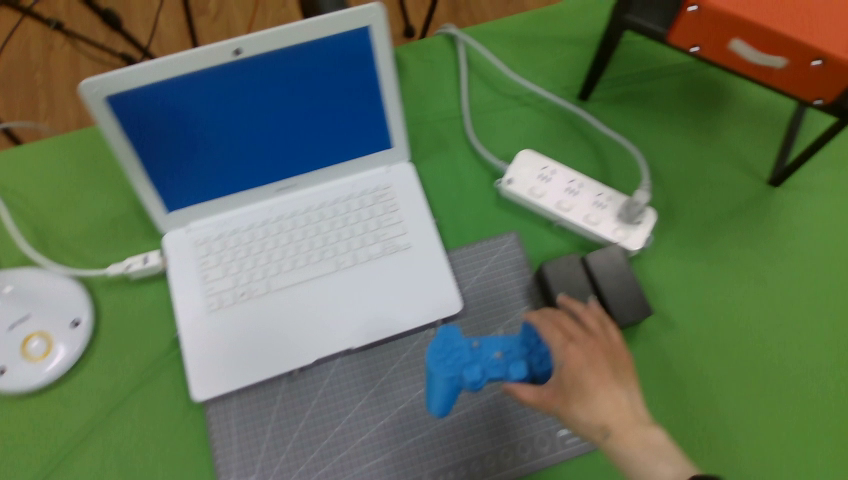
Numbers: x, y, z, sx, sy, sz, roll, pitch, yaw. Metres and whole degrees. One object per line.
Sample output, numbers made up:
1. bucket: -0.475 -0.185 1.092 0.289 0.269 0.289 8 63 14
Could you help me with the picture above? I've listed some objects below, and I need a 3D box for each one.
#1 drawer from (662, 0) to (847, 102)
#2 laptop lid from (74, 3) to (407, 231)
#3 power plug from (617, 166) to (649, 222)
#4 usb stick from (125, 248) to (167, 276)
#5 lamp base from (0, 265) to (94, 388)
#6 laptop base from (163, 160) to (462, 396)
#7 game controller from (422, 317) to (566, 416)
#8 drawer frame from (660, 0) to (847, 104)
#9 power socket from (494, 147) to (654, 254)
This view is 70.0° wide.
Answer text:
1. drawer: 0.415 -0.292 0.713 0.194 0.074 0.211 26 70 10
2. laptop lid: -0.205 -0.144 0.765 0.357 0.244 0.013 -19 45 -6
3. power plug: 0.288 -0.055 0.814 0.035 0.053 0.072 37 71 13
4. usb stick: -0.358 0.028 0.798 0.059 0.027 0.021 -13 63 -9
5. lamp base: -0.514 0.072 0.704 0.178 0.181 0.160 38 73 16
6. laptop base: -0.151 0.040 0.807 0.355 0.023 0.234 -18 72 -7
7. game controller: 0.072 0.134 0.652 0.155 0.052 0.096 -4 69 2
8. drawer frame: 0.416 -0.297 0.713 0.201 0.083 0.213 26 70 10
9. power socket: 0.209 -0.056 0.839 0.226 0.033 0.072 28 71 10
